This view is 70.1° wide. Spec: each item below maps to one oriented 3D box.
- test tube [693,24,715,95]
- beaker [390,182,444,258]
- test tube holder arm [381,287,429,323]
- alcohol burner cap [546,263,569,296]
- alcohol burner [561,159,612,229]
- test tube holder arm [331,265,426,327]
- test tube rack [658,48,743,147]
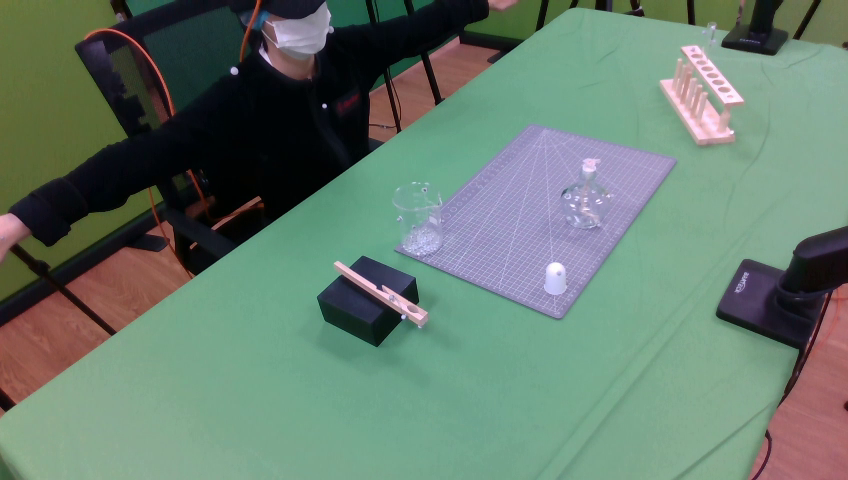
[{"bbox_3d":[0.543,-0.347,1.177,0.017,0.151,0.017,-5,45,5],"label":"test tube"},{"bbox_3d":[-0.005,-0.028,0.946,0.083,0.101,0.074,15,45,24],"label":"beaker"},{"bbox_3d":[-0.028,0.087,0.807,0.087,0.015,0.010,25,42,33],"label":"test tube holder arm"},{"bbox_3d":[0.191,0.053,0.862,0.034,0.048,0.033,-5,40,4],"label":"alcohol burner cap"},{"bbox_3d":[0.257,-0.077,0.951,0.078,0.119,0.077,-3,40,3],"label":"alcohol burner"},{"bbox_3d":[-0.066,0.074,0.828,0.177,0.015,0.013,25,42,33],"label":"test tube holder arm"},{"bbox_3d":[0.532,-0.284,1.180,0.067,0.085,0.241,-5,40,4],"label":"test tube rack"}]
